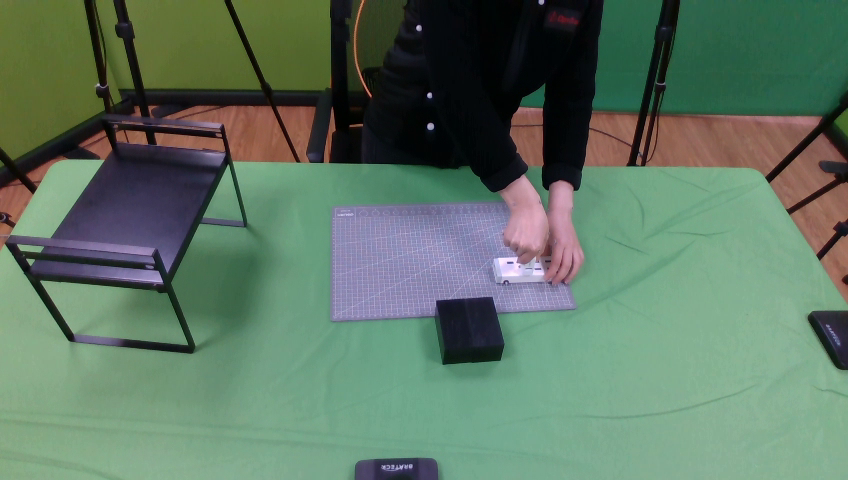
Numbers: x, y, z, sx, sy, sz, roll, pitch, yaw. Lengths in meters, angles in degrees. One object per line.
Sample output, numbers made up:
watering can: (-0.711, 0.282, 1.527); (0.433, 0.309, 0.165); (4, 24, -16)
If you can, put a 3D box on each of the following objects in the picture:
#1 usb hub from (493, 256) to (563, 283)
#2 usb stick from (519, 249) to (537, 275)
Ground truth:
usb hub: (0.196, 0.056, 1.151); (0.125, 0.025, 0.049); (-2, 46, -5)
usb stick: (0.190, 0.045, 1.119); (0.021, 0.059, 0.027); (-6, 51, -11)
